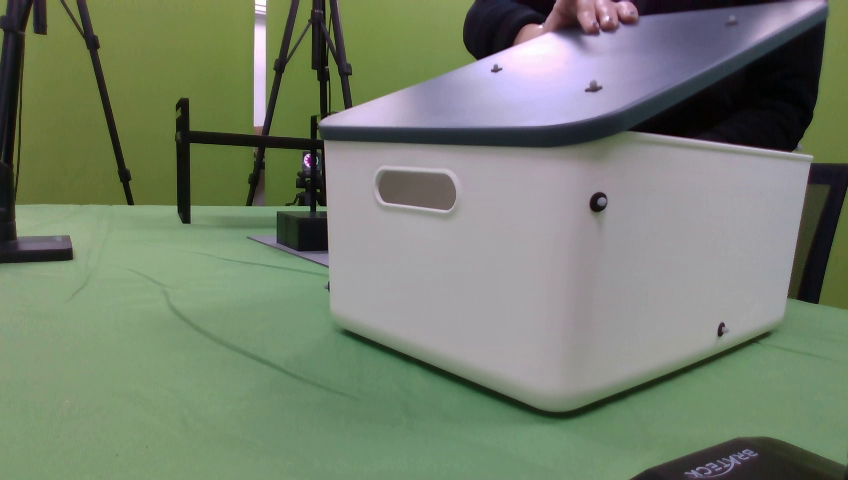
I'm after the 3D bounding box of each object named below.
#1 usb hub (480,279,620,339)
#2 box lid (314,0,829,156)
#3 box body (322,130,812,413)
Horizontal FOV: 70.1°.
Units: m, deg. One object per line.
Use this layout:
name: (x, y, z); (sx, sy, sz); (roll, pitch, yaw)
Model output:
usb hub: (0.111, 0.057, 0.525); (0.126, 0.025, 0.049); (-6, 14, -35)
box lid: (0.122, -0.139, 0.483); (0.373, 0.015, 0.262); (-30, 29, -35)
box body: (0.124, -0.001, 0.510); (0.366, 0.160, 0.253); (-4, 10, -42)
